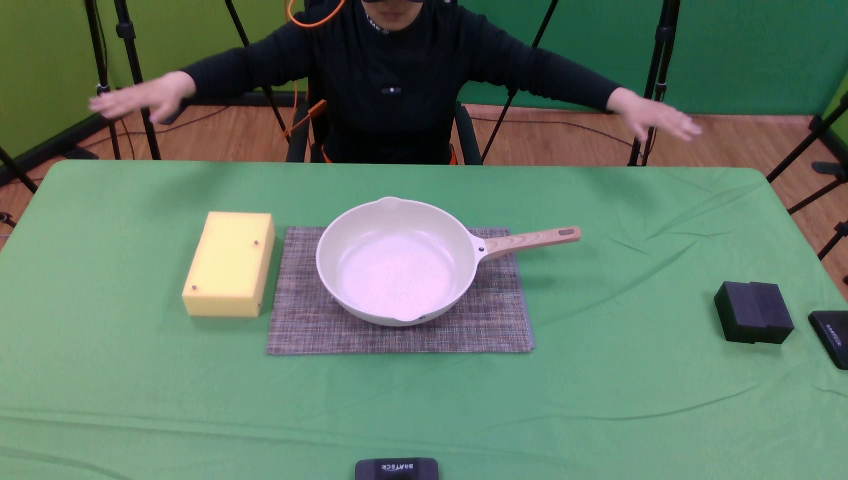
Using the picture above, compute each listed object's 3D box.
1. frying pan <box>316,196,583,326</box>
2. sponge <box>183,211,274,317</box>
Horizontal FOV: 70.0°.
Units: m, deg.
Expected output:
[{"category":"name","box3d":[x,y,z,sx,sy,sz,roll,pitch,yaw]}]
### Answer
[{"category":"frying pan","box3d":[0.054,0.027,1.114,0.488,0.103,0.304,-9,48,-1]},{"category":"sponge","box3d":[-0.351,0.041,1.107,0.118,0.061,0.205,1,46,-3]}]
